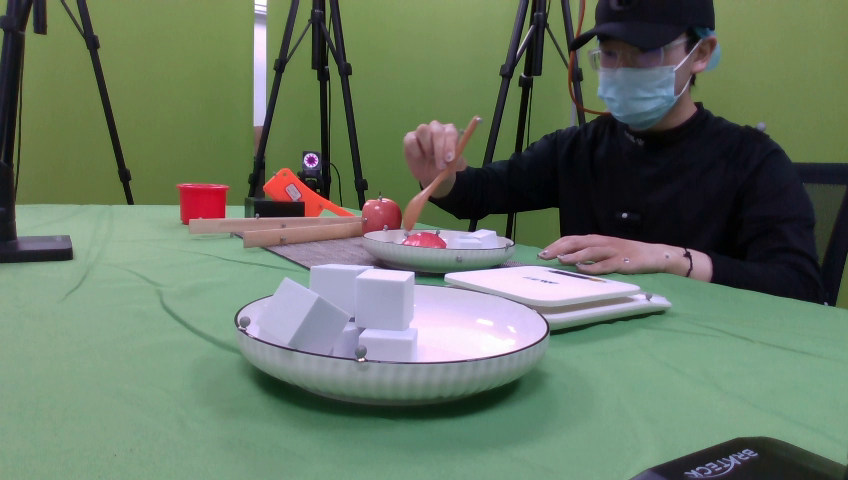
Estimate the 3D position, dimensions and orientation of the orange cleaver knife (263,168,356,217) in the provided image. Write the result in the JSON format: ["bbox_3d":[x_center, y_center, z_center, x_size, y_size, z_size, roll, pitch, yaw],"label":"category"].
[{"bbox_3d":[-0.240,-0.077,1.294,0.212,0.077,0.012,32,-7,-26],"label":"orange cleaver knife"}]

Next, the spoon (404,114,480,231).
[{"bbox_3d":[0.025,-0.095,0.862,0.022,0.193,0.041,32,8,-27],"label":"spoon"}]

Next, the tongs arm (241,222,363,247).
[{"bbox_3d":[-0.159,-0.016,1.034,0.028,0.028,0.389,2,6,33],"label":"tongs arm"}]

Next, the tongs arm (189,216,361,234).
[{"bbox_3d":[-0.220,-0.028,1.088,0.387,0.026,0.050,-3,8,-43],"label":"tongs arm"}]

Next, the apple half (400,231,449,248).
[{"bbox_3d":[0.003,0.004,0.843,0.081,0.033,0.081,1,4,0],"label":"apple half"}]

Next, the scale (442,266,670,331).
[{"bbox_3d":[0.131,0.052,0.603,0.202,0.031,0.148,-3,9,-37],"label":"scale"}]

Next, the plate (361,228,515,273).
[{"bbox_3d":[0.018,0.013,0.818,0.209,0.038,0.209,2,7,0],"label":"plate"}]

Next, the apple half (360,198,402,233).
[{"bbox_3d":[-0.066,-0.033,1.014,0.053,0.074,0.081,10,6,20],"label":"apple half"}]

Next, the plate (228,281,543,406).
[{"bbox_3d":[-0.025,0.067,0.413,0.208,0.039,0.207,3,7,0],"label":"plate"}]
